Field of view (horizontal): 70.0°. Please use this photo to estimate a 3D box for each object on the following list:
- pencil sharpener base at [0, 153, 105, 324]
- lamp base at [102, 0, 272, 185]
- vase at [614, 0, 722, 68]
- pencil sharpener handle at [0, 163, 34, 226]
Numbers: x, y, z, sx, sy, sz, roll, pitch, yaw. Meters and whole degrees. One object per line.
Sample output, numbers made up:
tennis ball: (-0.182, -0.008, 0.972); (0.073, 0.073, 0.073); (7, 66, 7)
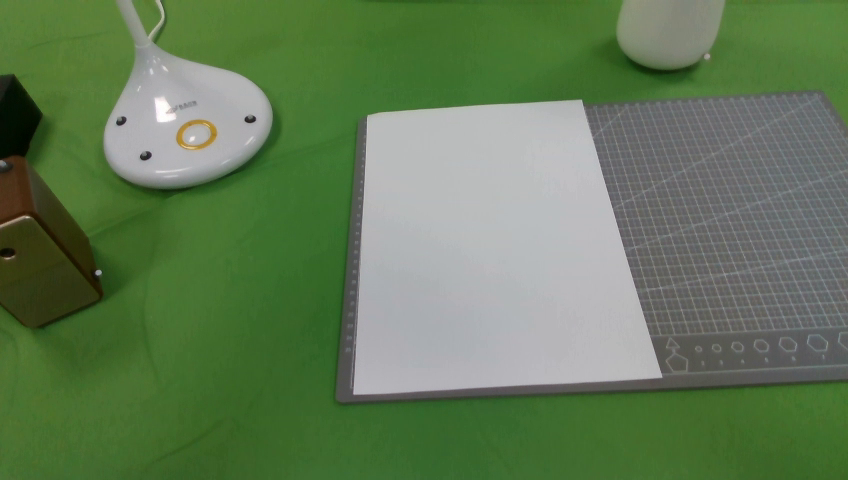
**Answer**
pencil sharpener base: (-0.299, 0.000, 0.455); (0.061, 0.108, 0.076); (-26, 54, -15)
lamp base: (-0.242, -0.167, 0.534); (0.160, 0.182, 0.177); (-35, 55, -21)
vase: (0.238, -0.263, 0.562); (0.098, 0.202, 0.097); (-3, 51, 4)
pencil sharpener handle: (-0.327, -0.041, 0.473); (0.036, 0.068, 0.030); (-22, 53, -19)
